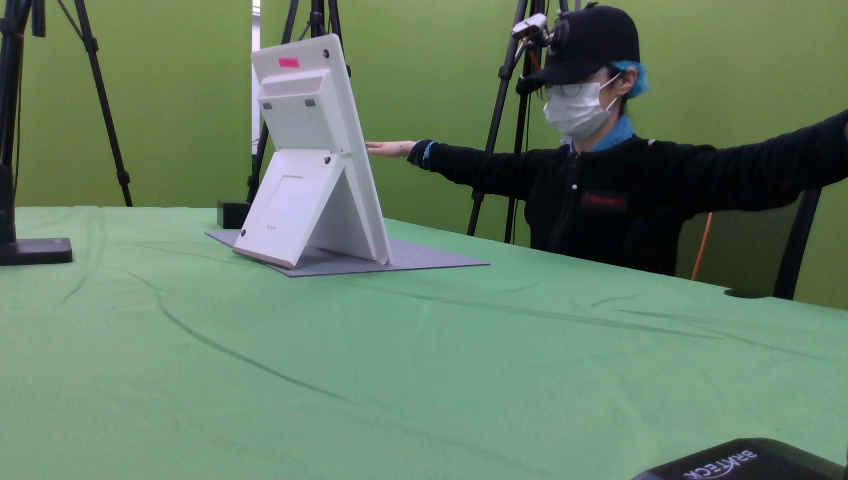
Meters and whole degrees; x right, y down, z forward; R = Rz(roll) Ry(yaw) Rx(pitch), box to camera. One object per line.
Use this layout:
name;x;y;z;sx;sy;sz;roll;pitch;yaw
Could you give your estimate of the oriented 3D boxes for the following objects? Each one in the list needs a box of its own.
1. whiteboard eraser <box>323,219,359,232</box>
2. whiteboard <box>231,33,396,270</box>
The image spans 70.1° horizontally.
whiteboard eraser;-0.162;-0.030;1.195;0.041;0.019;0.101;5;9;21
whiteboard;-0.193;-0.094;0.805;0.144;0.305;0.216;-29;25;-35
